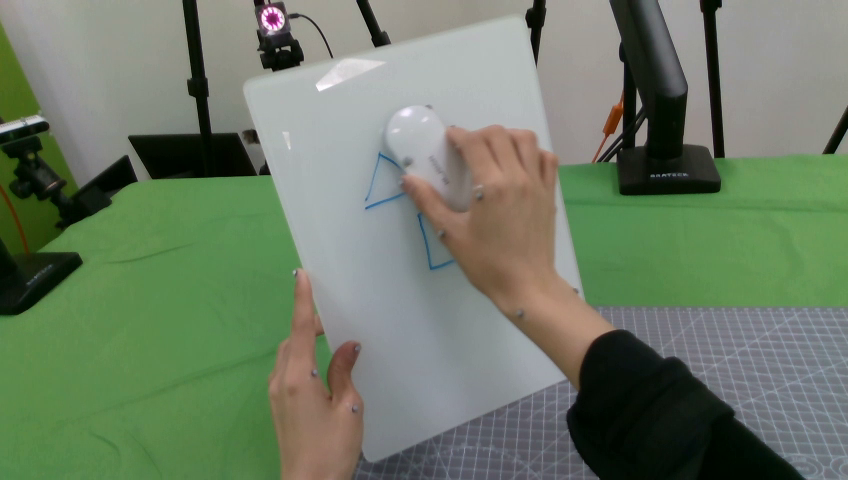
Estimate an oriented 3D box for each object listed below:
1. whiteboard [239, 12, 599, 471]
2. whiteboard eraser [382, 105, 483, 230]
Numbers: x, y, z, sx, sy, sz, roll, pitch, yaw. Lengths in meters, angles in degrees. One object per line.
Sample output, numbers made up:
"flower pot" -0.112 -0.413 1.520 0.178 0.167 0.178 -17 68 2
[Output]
"whiteboard" -0.005 -0.007 0.528 0.217 0.307 0.143 -19 14 -14
"whiteboard eraser" 0.007 -0.052 0.444 0.041 0.102 0.018 -39 20 -12
